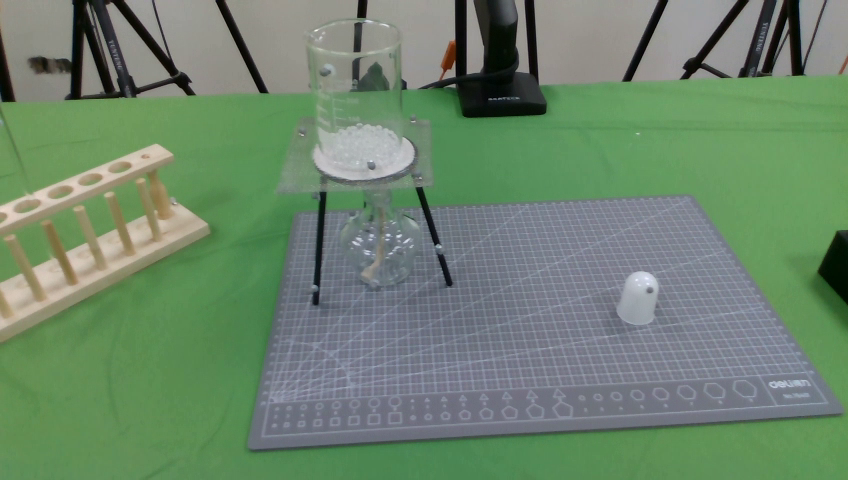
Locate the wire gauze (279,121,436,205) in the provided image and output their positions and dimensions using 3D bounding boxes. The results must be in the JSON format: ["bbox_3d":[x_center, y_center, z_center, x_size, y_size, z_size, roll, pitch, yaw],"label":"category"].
[{"bbox_3d":[-0.051,-0.070,0.510,0.121,0.011,0.124,-1,40,0],"label":"wire gauze"}]

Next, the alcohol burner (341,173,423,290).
[{"bbox_3d":[-0.039,-0.012,0.559,0.078,0.120,0.077,1,40,0],"label":"alcohol burner"}]

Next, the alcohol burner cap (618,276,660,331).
[{"bbox_3d":[0.191,0.053,0.530,0.034,0.048,0.033,-1,39,1],"label":"alcohol burner cap"}]

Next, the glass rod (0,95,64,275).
[{"bbox_3d":[-0.353,-0.053,0.538,0.008,0.201,0.008,0,30,0],"label":"glass rod"}]

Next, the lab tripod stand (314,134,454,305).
[{"bbox_3d":[-0.042,-0.019,0.553,0.148,0.132,0.147,1,37,0],"label":"lab tripod stand"}]

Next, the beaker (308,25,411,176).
[{"bbox_3d":[-0.052,-0.110,0.482,0.083,0.101,0.074,23,43,25],"label":"beaker"}]

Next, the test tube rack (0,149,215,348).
[{"bbox_3d":[-0.330,0.006,0.569,0.066,0.086,0.242,29,47,33],"label":"test tube rack"}]
